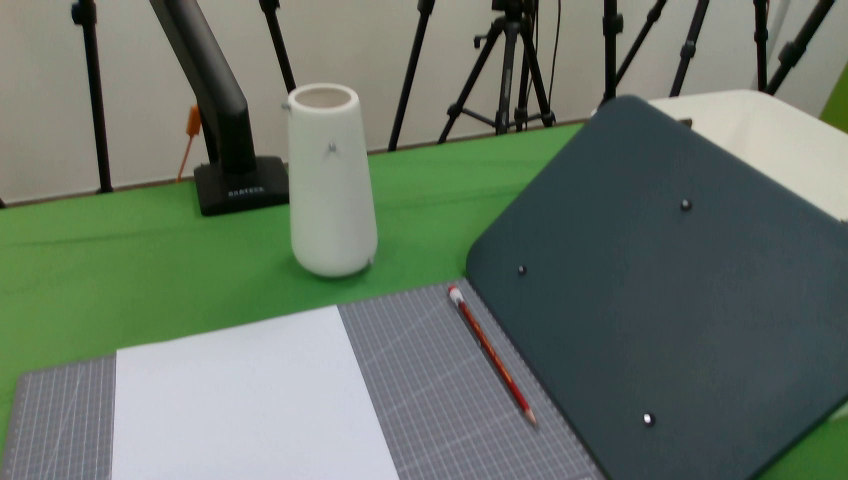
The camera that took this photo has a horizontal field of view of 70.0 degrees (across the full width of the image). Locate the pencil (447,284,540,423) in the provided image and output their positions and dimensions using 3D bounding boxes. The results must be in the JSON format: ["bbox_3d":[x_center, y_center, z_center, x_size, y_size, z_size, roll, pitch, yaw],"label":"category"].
[{"bbox_3d":[0.064,0.104,0.594,0.012,0.012,0.192,-12,39,-19],"label":"pencil"}]

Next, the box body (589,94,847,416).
[{"bbox_3d":[0.358,-0.005,0.640,0.255,0.162,0.359,-11,37,-17],"label":"box body"}]

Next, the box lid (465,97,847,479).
[{"bbox_3d":[0.196,0.032,0.549,0.015,0.263,0.367,33,15,-39],"label":"box lid"}]

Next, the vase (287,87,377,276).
[{"bbox_3d":[-0.103,-0.059,0.655,0.098,0.201,0.097,1,35,0],"label":"vase"}]
